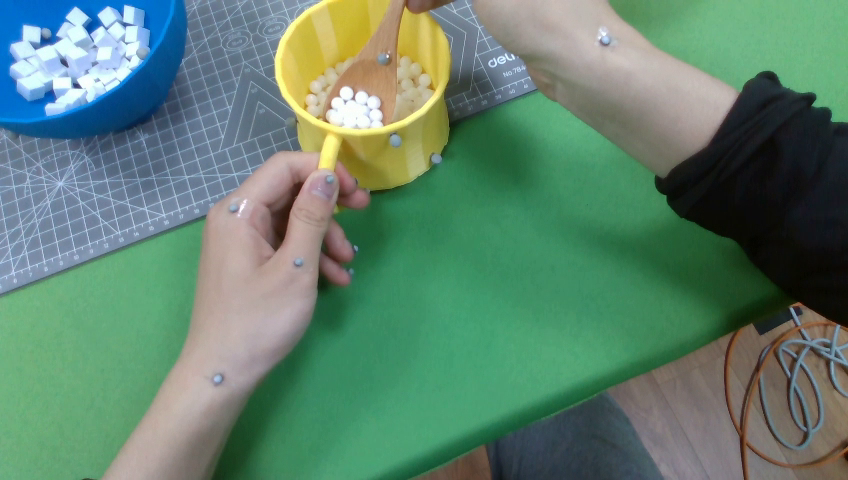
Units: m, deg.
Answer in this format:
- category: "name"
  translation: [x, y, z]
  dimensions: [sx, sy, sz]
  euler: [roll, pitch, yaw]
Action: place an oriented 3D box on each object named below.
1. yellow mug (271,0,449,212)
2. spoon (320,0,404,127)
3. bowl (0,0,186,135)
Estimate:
- category: "yellow mug"
  translation: [-0.039, -0.077, 0.362]
  dimensions: [0.100, 0.064, 0.130]
  euler: [14, 69, 6]
- category: "spoon"
  translation: [-0.010, -0.142, 0.330]
  dimensions: [0.041, 0.021, 0.194]
  euler: [28, 111, 6]
- category: "bowl"
  translation: [-0.215, -0.123, 0.385]
  dimensions: [0.151, 0.077, 0.150]
  euler: [-1, 72, 3]
